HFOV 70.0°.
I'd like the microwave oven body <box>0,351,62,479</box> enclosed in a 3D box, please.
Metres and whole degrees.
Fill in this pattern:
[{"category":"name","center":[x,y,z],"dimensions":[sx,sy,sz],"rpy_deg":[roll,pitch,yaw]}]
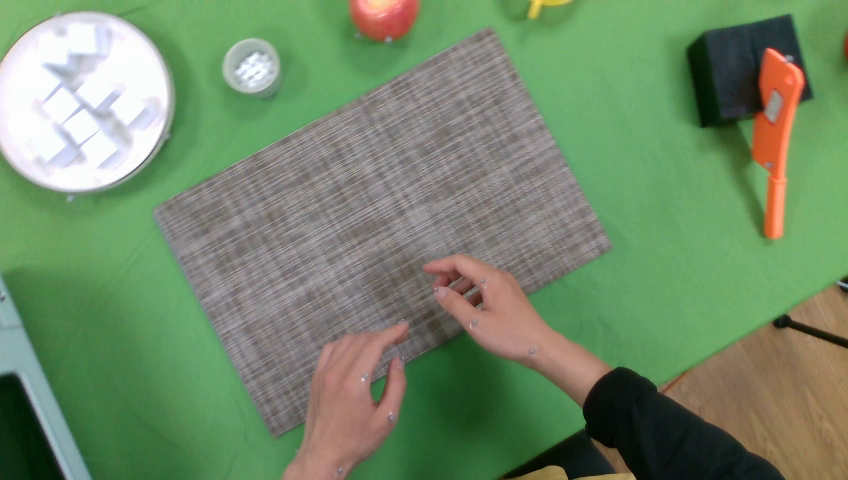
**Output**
[{"category":"microwave oven body","center":[-0.542,0.273,0.566],"dimensions":[0.326,0.260,0.441],"rpy_deg":[-26,88,-2]}]

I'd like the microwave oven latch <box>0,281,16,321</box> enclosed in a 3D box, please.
[{"category":"microwave oven latch","center":[-0.487,0.055,0.671],"dimensions":[0.030,0.029,0.079],"rpy_deg":[-24,89,-2]}]

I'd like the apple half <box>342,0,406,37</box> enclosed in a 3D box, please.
[{"category":"apple half","center":[-0.063,-0.264,0.687],"dimensions":[0.053,0.074,0.081],"rpy_deg":[-37,92,3]}]

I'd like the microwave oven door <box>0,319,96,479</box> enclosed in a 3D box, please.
[{"category":"microwave oven door","center":[-0.392,0.247,0.562],"dimensions":[0.039,0.244,0.355],"rpy_deg":[-27,87,-1]}]

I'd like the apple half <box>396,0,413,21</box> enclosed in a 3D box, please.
[{"category":"apple half","center":[-0.032,-0.289,0.687],"dimensions":[0.033,0.081,0.081],"rpy_deg":[-38,87,3]}]

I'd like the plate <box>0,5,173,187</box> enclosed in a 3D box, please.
[{"category":"plate","center":[-0.390,-0.163,0.699],"dimensions":[0.208,0.039,0.207],"rpy_deg":[0,87,0]}]

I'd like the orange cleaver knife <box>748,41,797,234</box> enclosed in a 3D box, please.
[{"category":"orange cleaver knife","center":[0.383,-0.111,0.677],"dimensions":[0.012,0.076,0.213],"rpy_deg":[-9,117,3]}]

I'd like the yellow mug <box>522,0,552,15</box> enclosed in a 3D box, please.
[{"category":"yellow mug","center":[0.138,-0.322,0.692],"dimensions":[0.100,0.064,0.130],"rpy_deg":[19,89,1]}]

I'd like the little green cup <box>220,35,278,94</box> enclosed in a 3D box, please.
[{"category":"little green cup","center":[-0.200,-0.200,0.701],"dimensions":[0.061,0.038,0.061],"rpy_deg":[0,87,0]}]
